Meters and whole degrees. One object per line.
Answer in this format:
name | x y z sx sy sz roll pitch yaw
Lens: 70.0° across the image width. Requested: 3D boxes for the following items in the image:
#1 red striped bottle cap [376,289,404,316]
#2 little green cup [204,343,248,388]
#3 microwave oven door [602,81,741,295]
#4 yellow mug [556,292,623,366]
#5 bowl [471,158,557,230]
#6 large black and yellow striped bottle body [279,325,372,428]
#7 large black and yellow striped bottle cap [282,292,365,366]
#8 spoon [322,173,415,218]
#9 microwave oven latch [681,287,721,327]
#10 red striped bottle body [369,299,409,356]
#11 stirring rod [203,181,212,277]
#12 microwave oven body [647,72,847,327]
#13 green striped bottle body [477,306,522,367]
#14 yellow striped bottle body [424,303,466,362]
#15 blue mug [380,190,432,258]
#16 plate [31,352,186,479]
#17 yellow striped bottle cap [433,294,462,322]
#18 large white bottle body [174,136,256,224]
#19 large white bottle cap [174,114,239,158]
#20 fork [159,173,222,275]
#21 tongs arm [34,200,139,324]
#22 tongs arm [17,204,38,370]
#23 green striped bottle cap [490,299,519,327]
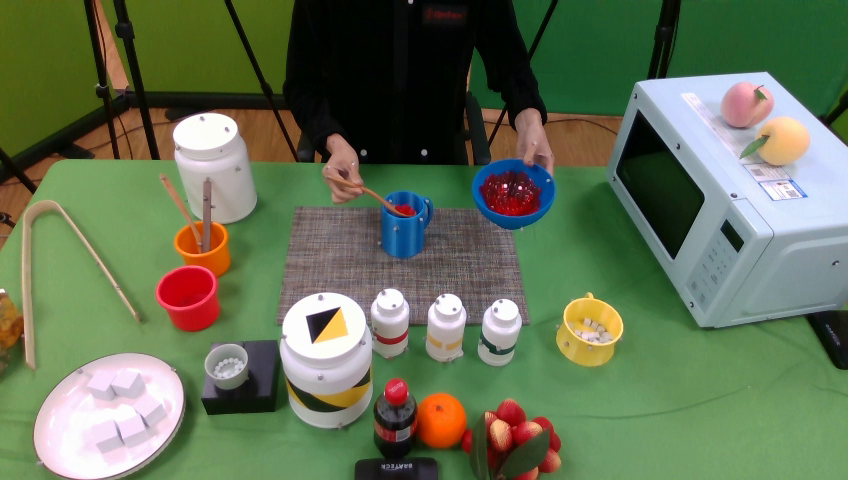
red striped bottle cap | -0.055 0.098 0.958 0.044 0.018 0.044 0 48 0
little green cup | -0.294 0.190 0.909 0.061 0.039 0.061 1 48 -1
microwave oven door | 0.456 -0.107 1.162 0.039 0.245 0.353 -7 47 -10
yellow mug | 0.285 0.146 1.051 0.100 0.064 0.130 8 45 3
bowl | 0.161 -0.072 1.110 0.151 0.077 0.150 -2 50 2
large black and yellow striped bottle body | -0.143 0.181 0.900 0.131 0.185 0.130 2 46 -2
large black and yellow striped bottle cap | -0.138 0.121 0.841 0.115 0.019 0.114 3 47 -3
spoon | -0.097 -0.081 1.090 0.195 0.021 0.041 27 16 -30
microwave oven latch | 0.494 0.119 1.087 0.030 0.029 0.078 -6 46 -9
red striped bottle body | -0.058 0.134 0.997 0.063 0.120 0.062 4 47 -4
stirring rod | -0.396 -0.021 1.108 0.014 0.006 0.176 -1 89 -1
microwave oven body | 0.607 -0.089 1.164 0.326 0.261 0.438 -7 46 -10
green striped bottle body | 0.124 0.151 0.995 0.063 0.120 0.063 2 46 -2
yellow striped bottle body | 0.035 0.143 0.995 0.063 0.121 0.062 3 46 -3
blue mug | -0.030 -0.037 1.169 0.116 0.106 0.082 -29 55 -28
plate | -0.459 0.262 0.898 0.209 0.038 0.208 2 45 -2
yellow striped bottle cap | 0.037 0.107 0.958 0.044 0.019 0.044 2 45 -2
large white bottle body | -0.408 -0.137 1.183 0.131 0.185 0.130 2 46 -2
large white bottle cap | -0.403 -0.195 1.122 0.115 0.018 0.114 2 47 -2
fork | -0.426 -0.029 1.103 0.028 0.018 0.207 -31 99 -29
tongs arm | -0.622 0.034 1.105 0.051 0.026 0.382 -32 56 -26
tongs arm | -0.698 0.069 1.069 0.028 0.028 0.385 -20 50 -13
green striped bottle cap | 0.127 0.115 0.958 0.044 0.020 0.044 2 47 -2
